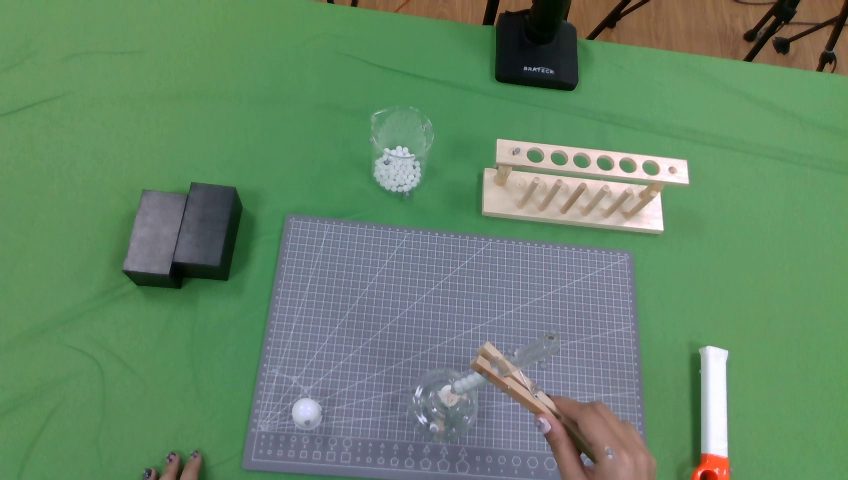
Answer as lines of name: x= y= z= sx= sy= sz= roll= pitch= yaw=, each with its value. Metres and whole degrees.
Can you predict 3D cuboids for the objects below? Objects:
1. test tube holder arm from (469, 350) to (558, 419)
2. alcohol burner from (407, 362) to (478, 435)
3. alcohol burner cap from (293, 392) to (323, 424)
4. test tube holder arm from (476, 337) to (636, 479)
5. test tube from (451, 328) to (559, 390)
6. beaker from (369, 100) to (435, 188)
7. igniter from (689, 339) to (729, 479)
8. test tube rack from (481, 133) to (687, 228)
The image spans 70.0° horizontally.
test tube holder arm: x=0.075 y=0.121 z=0.504 sx=0.088 sy=0.015 sz=0.010 roll=36 pitch=56 yaw=-8
alcohol burner: x=0.022 y=0.164 z=0.640 sx=0.078 sy=0.120 sz=0.077 roll=3 pitch=66 yaw=-7
alcohol burner cap: x=-0.126 y=0.179 z=0.654 sx=0.034 sy=0.048 sz=0.033 roll=3 pitch=68 yaw=-7
test tube holder arm: x=0.112 y=0.146 z=0.511 sx=0.178 sy=0.015 sz=0.013 roll=42 pitch=56 yaw=-4
test tube: x=0.061 y=0.102 z=0.502 sx=0.017 sy=0.150 sz=0.017 roll=12 pitch=60 yaw=-23
beaker: x=-0.033 y=-0.116 z=0.755 sx=0.084 sy=0.101 sz=0.074 roll=32 pitch=68 yaw=7
igniter: x=0.331 y=0.250 z=0.697 sx=0.057 sy=0.025 sz=0.274 roll=16 pitch=67 yaw=-12
test tube rack: x=0.201 y=-0.073 z=0.776 sx=0.243 sy=0.085 sz=0.066 roll=6 pitch=68 yaw=-5
